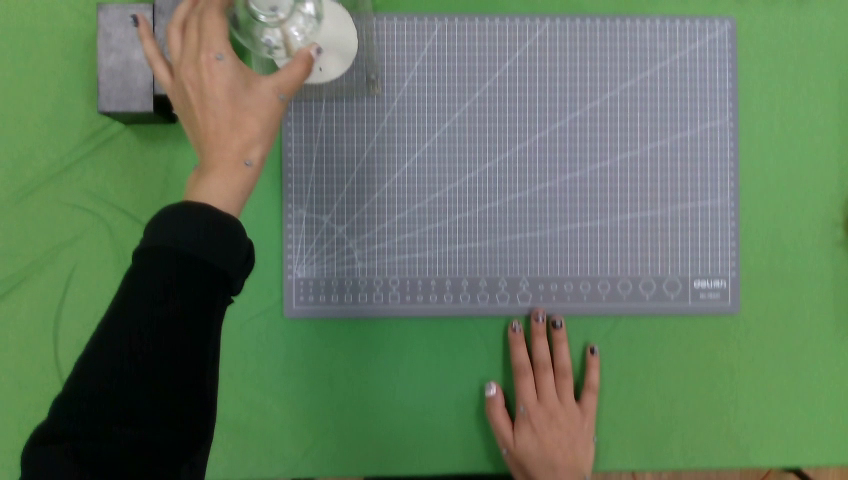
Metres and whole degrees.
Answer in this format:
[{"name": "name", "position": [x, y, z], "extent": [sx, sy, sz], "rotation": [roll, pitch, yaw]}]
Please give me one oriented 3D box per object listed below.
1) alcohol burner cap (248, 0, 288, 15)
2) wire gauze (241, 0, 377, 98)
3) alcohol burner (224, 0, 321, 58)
[{"name": "alcohol burner cap", "position": [-0.120, -0.188, 0.443], "extent": [0.034, 0.048, 0.034], "rotation": [0, 93, 2]}, {"name": "wire gauze", "position": [-0.113, -0.202, 0.588], "extent": [0.125, 0.011, 0.121], "rotation": [-6, 89, -1]}, {"name": "alcohol burner", "position": [-0.122, -0.189, 0.479], "extent": [0.078, 0.119, 0.078], "rotation": [0, 89, -4]}]
